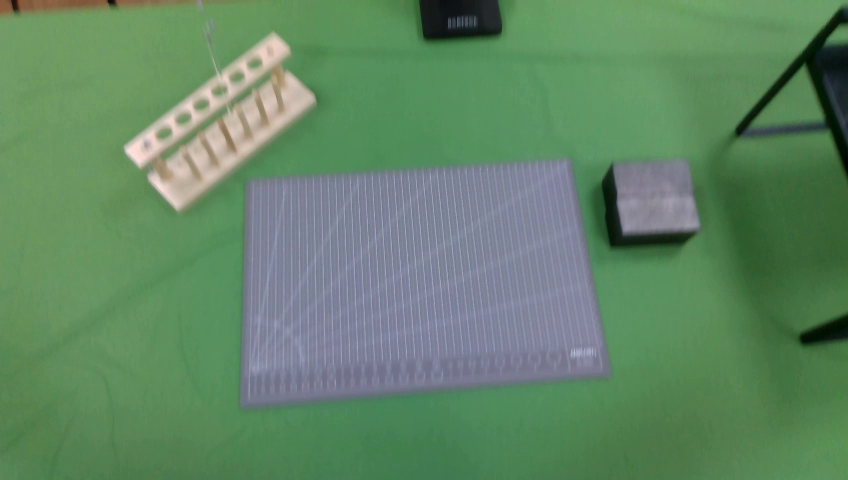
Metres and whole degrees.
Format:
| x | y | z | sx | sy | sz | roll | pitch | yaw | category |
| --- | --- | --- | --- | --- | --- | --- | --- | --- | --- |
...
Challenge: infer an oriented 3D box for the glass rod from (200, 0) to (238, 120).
| x | y | z | sx | sy | sz | roll | pitch | yaw | category |
| --- | --- | --- | --- | --- | --- | --- | --- | --- | --- |
| -0.254 | -0.217 | 0.759 | 0.008 | 0.201 | 0.008 | 2 | 61 | -4 | glass rod |

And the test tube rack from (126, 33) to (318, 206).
| x | y | z | sx | sy | sz | roll | pitch | yaw | category |
| --- | --- | --- | --- | --- | --- | --- | --- | --- | --- |
| -0.260 | -0.161 | 0.807 | 0.066 | 0.086 | 0.242 | 42 | 74 | 14 | test tube rack |
